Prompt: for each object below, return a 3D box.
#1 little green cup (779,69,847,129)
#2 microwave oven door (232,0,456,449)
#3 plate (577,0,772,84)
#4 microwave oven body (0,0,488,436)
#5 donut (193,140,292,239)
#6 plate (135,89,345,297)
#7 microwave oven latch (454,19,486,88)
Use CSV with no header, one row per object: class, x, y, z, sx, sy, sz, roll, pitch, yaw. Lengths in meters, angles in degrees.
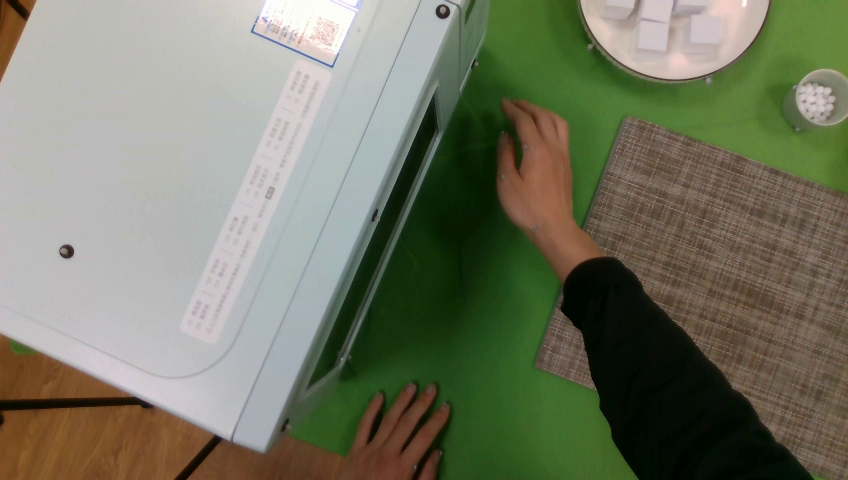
little green cup,0.422,-0.151,0.659,0.061,0.038,0.061,0,88,3
microwave oven door,-0.056,-0.009,0.554,0.039,0.244,0.355,23,89,3
plate,0.270,-0.272,0.668,0.207,0.039,0.207,0,88,2
microwave oven body,-0.171,-0.106,0.566,0.326,0.260,0.441,24,90,3
donut,-0.180,-0.049,0.603,0.099,0.048,0.099,0,89,3
plate,-0.183,-0.046,0.616,0.209,0.038,0.209,0,90,1
microwave oven latch,0.040,-0.206,0.656,0.030,0.029,0.079,26,90,3
